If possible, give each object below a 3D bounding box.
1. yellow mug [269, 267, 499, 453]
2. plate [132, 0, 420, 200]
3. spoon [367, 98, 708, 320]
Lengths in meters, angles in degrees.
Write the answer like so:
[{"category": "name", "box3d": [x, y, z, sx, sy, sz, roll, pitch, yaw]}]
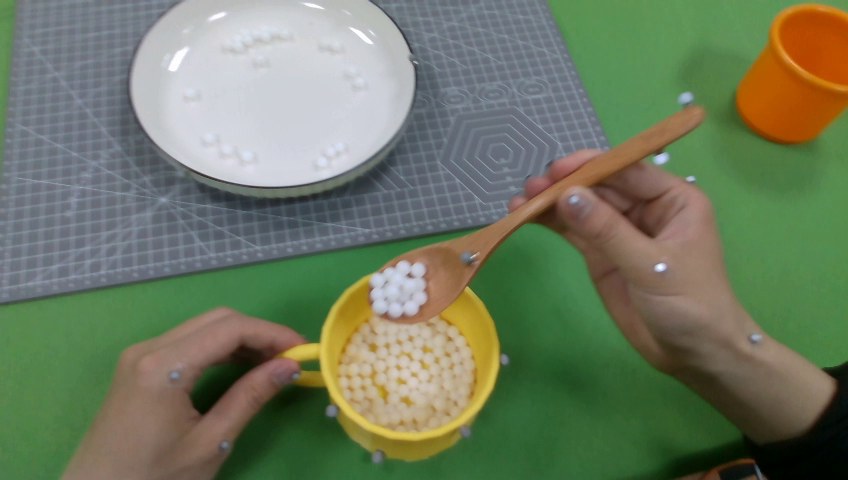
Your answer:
[{"category": "yellow mug", "box3d": [-0.025, 0.071, 0.359, 0.131, 0.064, 0.099, -1, 63, -5]}, {"category": "plate", "box3d": [-0.107, -0.115, 0.461, 0.208, 0.039, 0.206, 2, 62, -4]}, {"category": "spoon", "box3d": [0.056, -0.017, 0.304, 0.194, 0.022, 0.041, -32, 59, 9]}]
